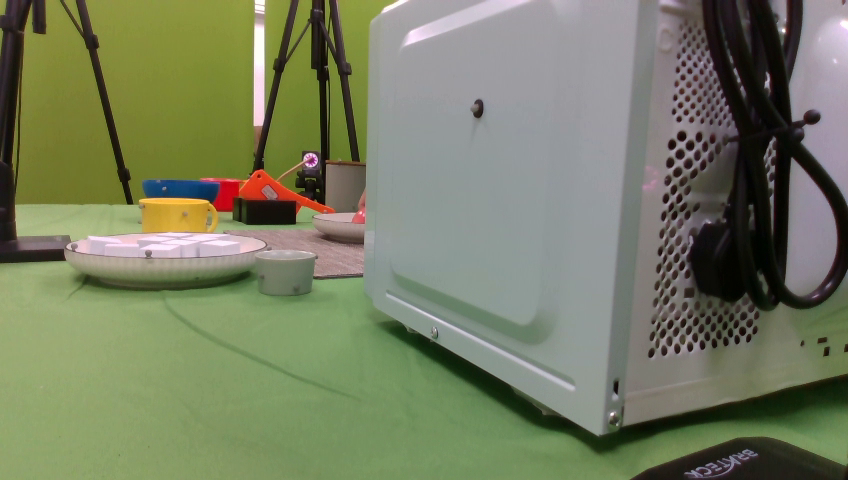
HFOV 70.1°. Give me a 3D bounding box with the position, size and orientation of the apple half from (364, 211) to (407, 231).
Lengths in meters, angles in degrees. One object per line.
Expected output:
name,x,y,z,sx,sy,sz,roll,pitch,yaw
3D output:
apple half,-0.068,-0.037,1.103,0.081,0.033,0.081,-1,10,1

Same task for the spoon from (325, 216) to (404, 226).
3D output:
spoon,-0.120,-0.043,1.273,0.195,0.021,0.041,-4,-11,-39

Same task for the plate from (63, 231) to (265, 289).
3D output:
plate,-0.288,0.021,0.687,0.208,0.039,0.207,2,8,0

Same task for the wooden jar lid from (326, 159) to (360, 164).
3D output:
wooden jar lid,-0.185,-0.187,1.481,0.108,0.020,0.108,4,6,0

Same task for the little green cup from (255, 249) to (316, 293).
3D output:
little green cup,-0.144,0.031,0.627,0.061,0.038,0.061,2,6,0

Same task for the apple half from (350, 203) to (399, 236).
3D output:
apple half,-0.082,-0.036,1.024,0.081,0.053,0.074,-3,11,-34

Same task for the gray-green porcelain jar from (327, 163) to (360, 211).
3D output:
gray-green porcelain jar,-0.187,-0.125,1.490,0.106,0.126,0.106,2,8,0

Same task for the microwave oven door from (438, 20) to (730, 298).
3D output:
microwave oven door,0.181,-0.076,0.618,0.358,0.243,0.039,-2,8,-28

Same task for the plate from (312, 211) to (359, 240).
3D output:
plate,-0.091,-0.026,1.063,0.209,0.038,0.209,2,7,0

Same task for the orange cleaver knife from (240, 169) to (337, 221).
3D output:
orange cleaver knife,-0.287,-0.082,1.298,0.212,0.077,0.012,25,-2,-31

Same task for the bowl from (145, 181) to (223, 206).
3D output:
bowl,-0.499,-0.081,1.261,0.151,0.077,0.151,2,7,0

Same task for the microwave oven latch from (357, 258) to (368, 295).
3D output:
microwave oven latch,-0.019,0.031,0.529,0.079,0.029,0.030,-1,7,-26

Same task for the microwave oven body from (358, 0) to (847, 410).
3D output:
microwave oven body,0.210,-0.051,0.471,0.444,0.260,0.324,-1,7,-28

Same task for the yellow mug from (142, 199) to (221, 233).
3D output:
yellow mug,-0.373,-0.030,0.948,0.099,0.064,0.131,6,7,30

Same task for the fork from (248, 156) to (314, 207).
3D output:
fork,-0.360,-0.147,1.523,0.207,0.019,0.028,-43,17,-6
